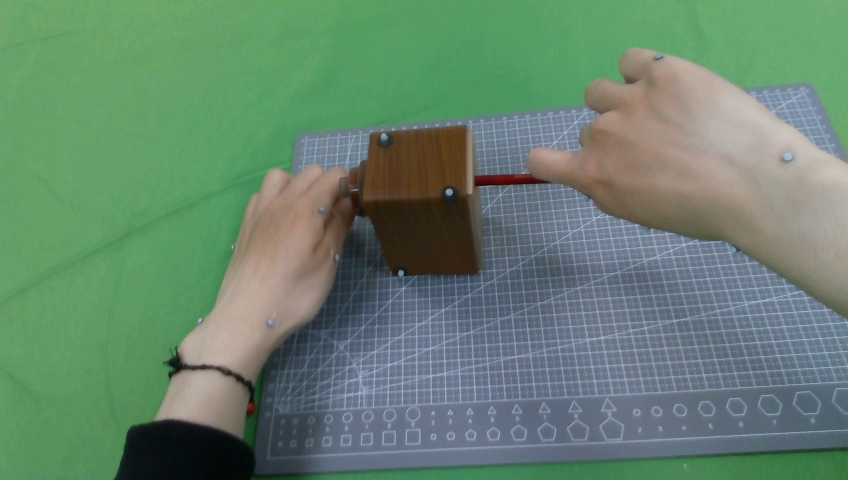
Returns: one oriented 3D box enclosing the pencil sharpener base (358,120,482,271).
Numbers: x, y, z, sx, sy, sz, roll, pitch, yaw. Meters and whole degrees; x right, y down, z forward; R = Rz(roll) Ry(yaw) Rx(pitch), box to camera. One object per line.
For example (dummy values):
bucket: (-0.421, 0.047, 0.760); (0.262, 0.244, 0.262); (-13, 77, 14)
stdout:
pencil sharpener base: (0.001, -0.027, 0.431); (0.076, 0.108, 0.061); (-2, 59, 8)

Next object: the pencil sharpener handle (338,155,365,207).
pencil sharpener handle: (-0.052, -0.037, 0.429); (0.030, 0.068, 0.036); (-2, 79, 8)

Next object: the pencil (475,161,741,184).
pencil: (0.106, -0.043, 0.396); (0.194, 0.012, 0.012); (-1, 58, 6)
